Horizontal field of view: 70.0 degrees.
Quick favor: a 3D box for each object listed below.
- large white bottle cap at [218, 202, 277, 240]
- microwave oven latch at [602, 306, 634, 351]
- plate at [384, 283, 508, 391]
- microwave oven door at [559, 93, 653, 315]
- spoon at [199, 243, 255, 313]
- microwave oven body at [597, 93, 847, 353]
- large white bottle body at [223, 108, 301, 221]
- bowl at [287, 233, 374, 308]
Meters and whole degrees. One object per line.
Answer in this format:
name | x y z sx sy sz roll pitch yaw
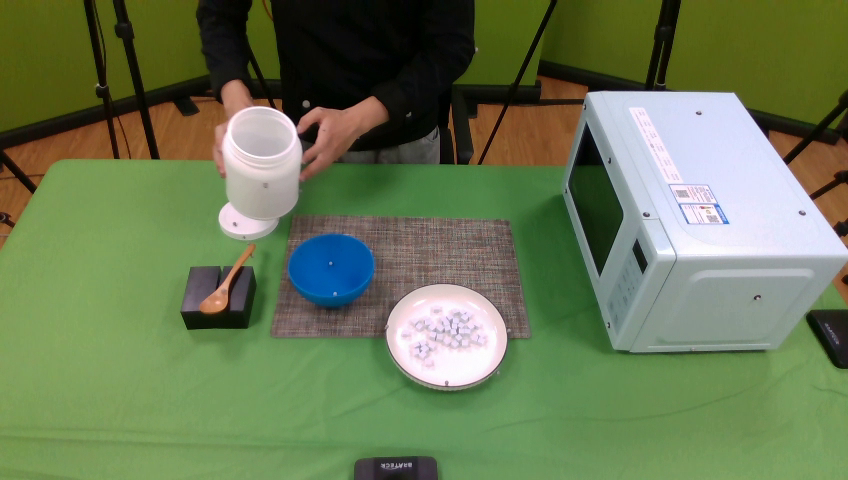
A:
large white bottle cap | -0.355 -0.045 1.220 0.115 0.018 0.114 2 45 -2
microwave oven latch | 0.332 0.153 1.044 0.030 0.029 0.078 0 45 -4
plate | 0.036 0.166 1.029 0.209 0.038 0.208 2 49 -2
microwave oven door | 0.327 -0.074 1.123 0.039 0.245 0.353 -1 46 -5
spoon | -0.333 0.062 1.051 0.041 0.022 0.193 8 40 8
microwave oven body | 0.475 -0.041 1.109 0.326 0.261 0.438 -1 45 -4
large white bottle body | -0.284 -0.132 1.070 0.131 0.185 0.130 7 60 -11
bowl | -0.164 0.068 1.078 0.151 0.077 0.150 3 46 -2
